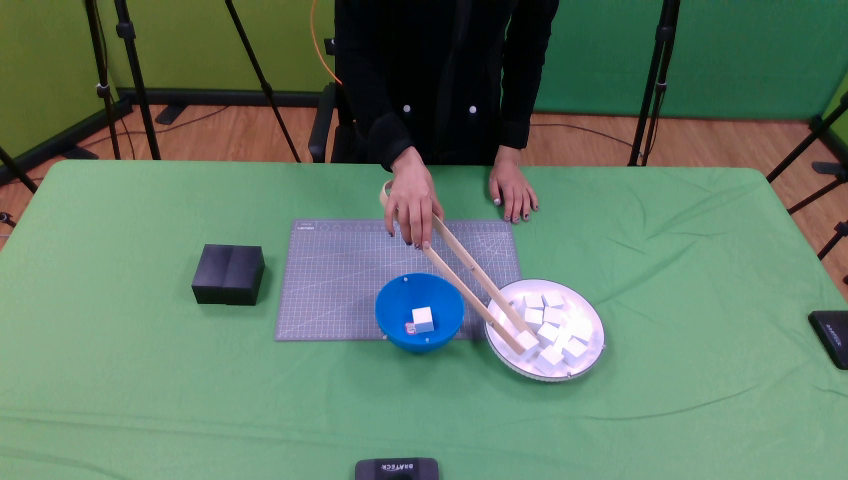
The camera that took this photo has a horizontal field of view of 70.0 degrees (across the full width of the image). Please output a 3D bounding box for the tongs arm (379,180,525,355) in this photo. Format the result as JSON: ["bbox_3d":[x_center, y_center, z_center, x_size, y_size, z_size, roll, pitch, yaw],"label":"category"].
[{"bbox_3d":[0.039,0.042,1.042,0.028,0.028,0.386,-31,71,-32],"label":"tongs arm"}]

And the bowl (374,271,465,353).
[{"bbox_3d":[-0.009,0.136,1.024,0.151,0.077,0.150,2,47,-2],"label":"bowl"}]

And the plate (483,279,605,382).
[{"bbox_3d":[0.204,0.158,1.047,0.208,0.039,0.206,3,47,-3],"label":"plate"}]

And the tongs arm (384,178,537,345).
[{"bbox_3d":[0.056,0.033,1.056,0.051,0.026,0.383,-25,68,-34],"label":"tongs arm"}]
